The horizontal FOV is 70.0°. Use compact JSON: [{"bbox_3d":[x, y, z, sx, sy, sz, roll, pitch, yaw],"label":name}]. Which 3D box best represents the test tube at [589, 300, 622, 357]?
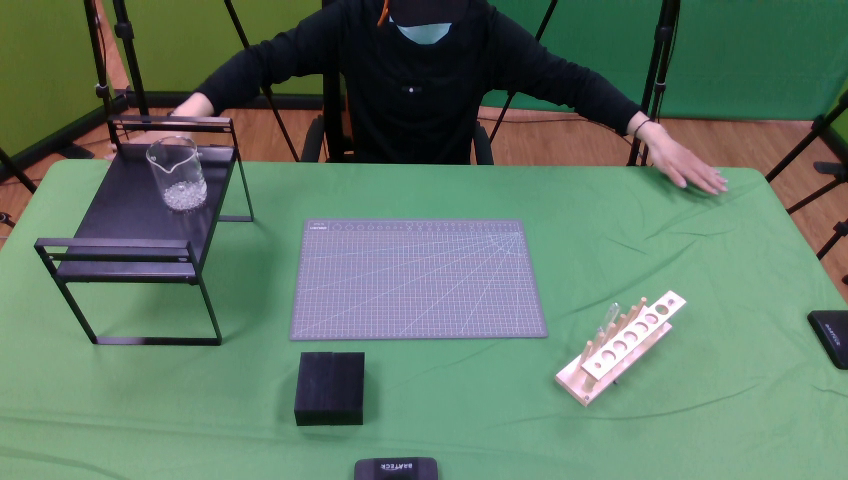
[{"bbox_3d":[0.288,0.144,0.970,0.017,0.151,0.017,2,49,-2],"label":"test tube"}]

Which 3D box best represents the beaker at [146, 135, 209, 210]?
[{"bbox_3d":[-0.387,-0.102,0.961,0.074,0.101,0.083,-5,48,-8],"label":"beaker"}]

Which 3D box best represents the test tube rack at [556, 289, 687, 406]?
[{"bbox_3d":[0.332,0.165,1.014,0.242,0.085,0.066,-31,55,-28],"label":"test tube rack"}]
